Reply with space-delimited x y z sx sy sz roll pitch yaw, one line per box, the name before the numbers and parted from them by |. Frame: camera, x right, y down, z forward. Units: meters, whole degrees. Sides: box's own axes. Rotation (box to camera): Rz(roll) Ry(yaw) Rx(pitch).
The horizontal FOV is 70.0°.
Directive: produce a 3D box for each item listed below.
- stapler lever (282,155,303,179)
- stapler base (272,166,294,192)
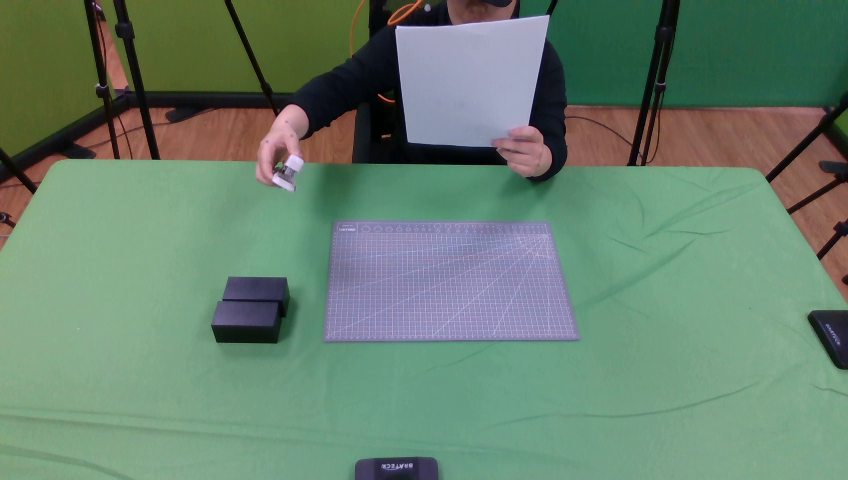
stapler lever | -0.238 -0.137 1.092 0.027 0.040 0.117 31 7 -18
stapler base | -0.249 -0.116 1.094 0.041 0.024 0.130 31 6 -18
